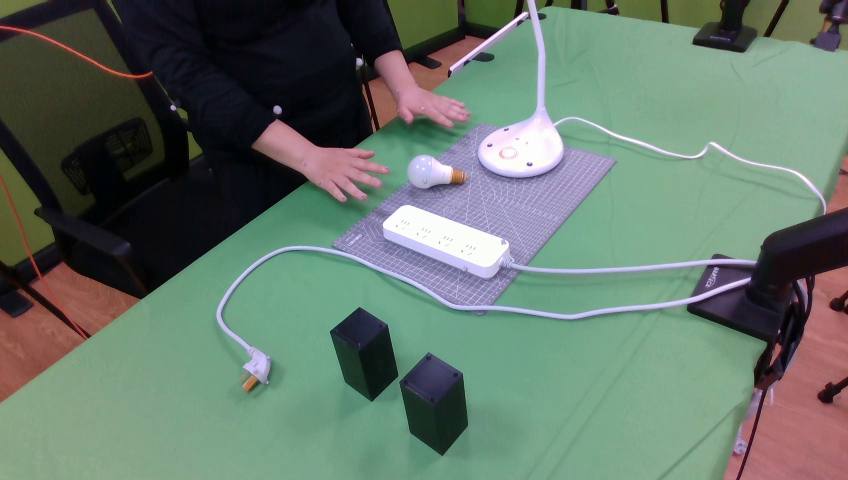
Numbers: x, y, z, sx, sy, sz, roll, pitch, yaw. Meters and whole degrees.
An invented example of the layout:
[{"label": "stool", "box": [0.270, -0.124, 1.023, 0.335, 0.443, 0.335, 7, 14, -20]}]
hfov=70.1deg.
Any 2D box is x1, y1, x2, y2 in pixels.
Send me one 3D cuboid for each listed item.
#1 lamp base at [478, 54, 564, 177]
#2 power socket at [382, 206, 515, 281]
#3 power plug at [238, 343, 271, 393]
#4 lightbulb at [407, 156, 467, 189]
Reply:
[{"label": "lamp base", "box": [0.180, -0.232, 1.090, 0.159, 0.181, 0.180, 21, 45, 30]}, {"label": "power socket", "box": [0.032, 0.002, 0.950, 0.225, 0.033, 0.072, 21, 49, 29]}, {"label": "power plug", "box": [-0.229, 0.172, 0.801, 0.072, 0.035, 0.053, 7, 51, 51]}, {"label": "lightbulb", "box": [0.024, -0.118, 1.080, 0.108, 0.059, 0.059, 6, 40, -6]}]
